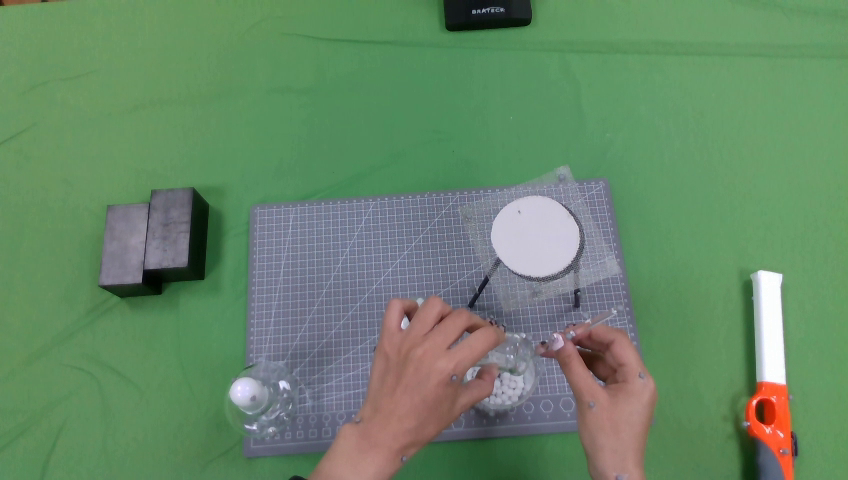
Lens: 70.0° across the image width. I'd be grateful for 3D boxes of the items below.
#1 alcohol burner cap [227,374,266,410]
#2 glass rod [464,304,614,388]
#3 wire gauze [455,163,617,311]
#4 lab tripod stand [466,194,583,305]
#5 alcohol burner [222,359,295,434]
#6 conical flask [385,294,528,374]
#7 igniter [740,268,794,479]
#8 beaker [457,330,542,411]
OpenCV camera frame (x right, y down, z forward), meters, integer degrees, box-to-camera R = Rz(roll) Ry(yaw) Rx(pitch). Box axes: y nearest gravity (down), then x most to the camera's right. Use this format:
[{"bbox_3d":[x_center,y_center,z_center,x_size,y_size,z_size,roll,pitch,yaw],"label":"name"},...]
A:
[{"bbox_3d":[-0.175,0.146,0.593,0.034,0.048,0.033,1,68,-3],"label":"alcohol burner cap"},{"bbox_3d":[0.096,0.100,0.550,0.008,0.200,0.008,21,50,-27],"label":"glass rod"},{"bbox_3d":[0.109,-0.004,0.596,0.125,0.011,0.120,-20,73,-5],"label":"wire gauze"},{"bbox_3d":[0.111,0.020,0.659,0.148,0.132,0.147,0,72,2],"label":"lab tripod stand"},{"bbox_3d":[-0.175,0.160,0.626,0.078,0.120,0.077,0,72,0],"label":"alcohol burner"},{"bbox_3d":[0.032,0.093,0.552,0.121,0.076,0.075,6,68,31],"label":"conical flask"},{"bbox_3d":[0.373,0.165,0.662,0.057,0.025,0.275,11,71,-6],"label":"igniter"},{"bbox_3d":[0.075,0.141,0.636,0.084,0.101,0.073,-6,71,-1],"label":"beaker"}]
